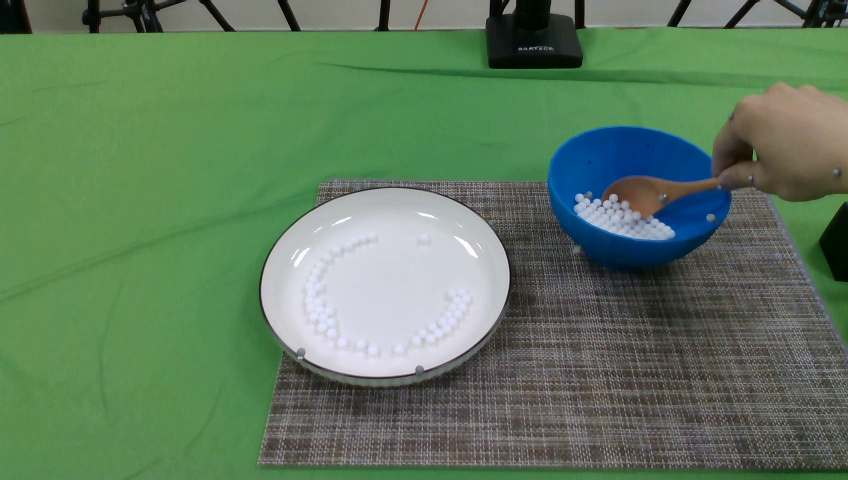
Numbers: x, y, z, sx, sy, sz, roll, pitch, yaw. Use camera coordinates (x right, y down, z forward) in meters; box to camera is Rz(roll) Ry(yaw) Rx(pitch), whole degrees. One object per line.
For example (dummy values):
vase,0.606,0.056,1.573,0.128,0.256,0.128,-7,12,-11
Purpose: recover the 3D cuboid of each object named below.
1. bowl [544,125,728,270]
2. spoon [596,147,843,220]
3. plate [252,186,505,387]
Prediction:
bowl,0.178,-0.026,0.539,0.151,0.077,0.150,0,47,1
spoon,0.229,-0.046,0.496,0.022,0.041,0.193,-19,6,-41
plate,-0.037,0.037,0.513,0.208,0.039,0.205,0,47,1
